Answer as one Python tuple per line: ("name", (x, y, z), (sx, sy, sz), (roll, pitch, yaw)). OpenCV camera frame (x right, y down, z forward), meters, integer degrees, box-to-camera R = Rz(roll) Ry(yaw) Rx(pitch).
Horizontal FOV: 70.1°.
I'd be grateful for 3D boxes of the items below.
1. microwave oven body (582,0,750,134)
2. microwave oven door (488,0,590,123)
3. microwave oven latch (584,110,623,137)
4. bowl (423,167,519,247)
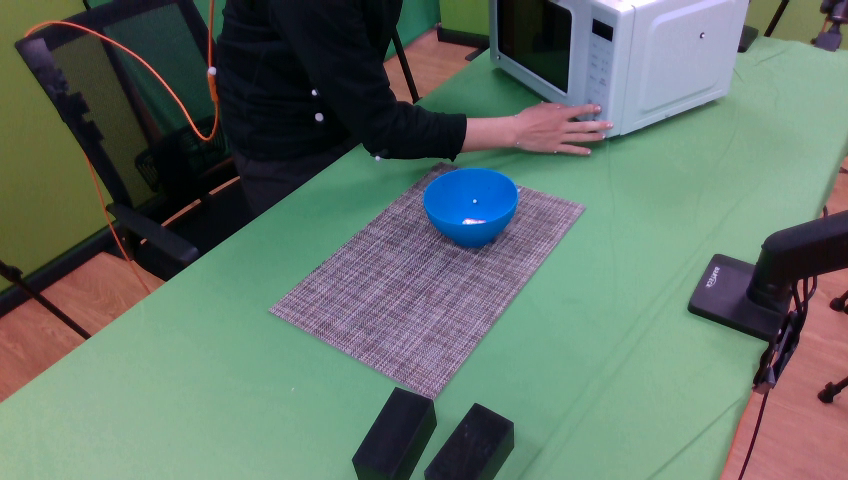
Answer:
("microwave oven body", (0.382, -0.445, 1.246), (0.327, 0.261, 0.437), (-22, 42, -16))
("microwave oven door", (0.232, -0.420, 1.231), (0.039, 0.245, 0.352), (-21, 42, -16))
("microwave oven latch", (0.337, -0.223, 1.142), (0.030, 0.029, 0.078), (-21, 42, -14))
("bowl", (0.076, -0.042, 0.959), (0.151, 0.077, 0.150), (-4, 41, 4))
